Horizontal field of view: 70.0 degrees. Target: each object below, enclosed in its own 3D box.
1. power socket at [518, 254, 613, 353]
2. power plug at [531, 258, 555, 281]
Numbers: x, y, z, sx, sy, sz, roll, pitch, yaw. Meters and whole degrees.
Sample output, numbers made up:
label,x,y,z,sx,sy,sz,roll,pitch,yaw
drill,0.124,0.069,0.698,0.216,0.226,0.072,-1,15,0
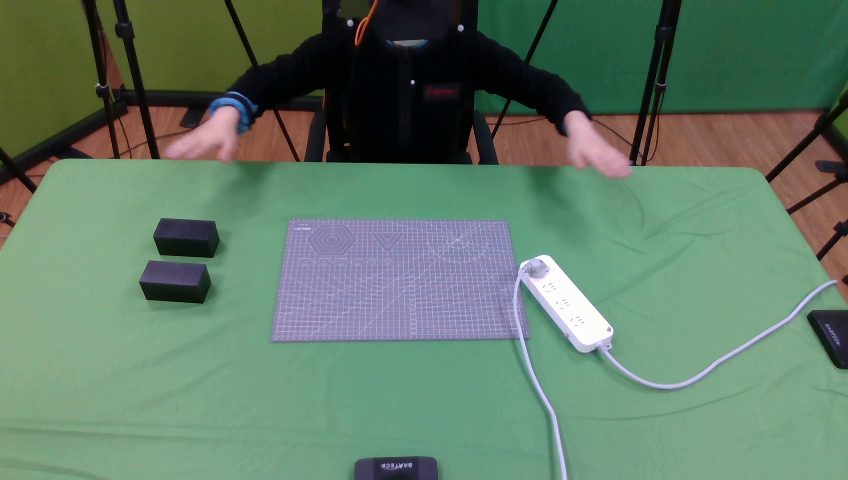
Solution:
label,x,y,z,sx,sy,sz,roll,pitch,yaw
power socket,0.252,0.111,1.099,0.072,0.033,0.225,-19,50,-19
power plug,0.231,0.059,1.116,0.073,0.035,0.052,23,39,-11
